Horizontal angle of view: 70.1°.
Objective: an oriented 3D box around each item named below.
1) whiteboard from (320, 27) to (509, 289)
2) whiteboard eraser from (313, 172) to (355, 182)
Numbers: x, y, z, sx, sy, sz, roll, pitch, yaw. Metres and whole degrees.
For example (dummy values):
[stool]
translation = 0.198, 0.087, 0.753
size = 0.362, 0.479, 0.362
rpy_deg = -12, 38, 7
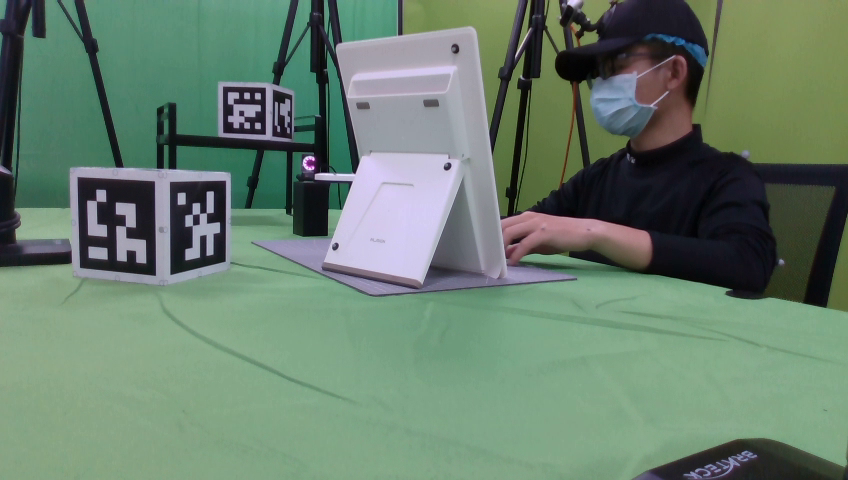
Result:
[whiteboard]
translation = -0.045, -0.076, 0.721
size = 0.216, 0.305, 0.144
rpy_deg = 9, 29, 39
[whiteboard eraser]
translation = -0.163, -0.121, 1.158
size = 0.102, 0.019, 0.041
rpy_deg = -1, 6, -33
